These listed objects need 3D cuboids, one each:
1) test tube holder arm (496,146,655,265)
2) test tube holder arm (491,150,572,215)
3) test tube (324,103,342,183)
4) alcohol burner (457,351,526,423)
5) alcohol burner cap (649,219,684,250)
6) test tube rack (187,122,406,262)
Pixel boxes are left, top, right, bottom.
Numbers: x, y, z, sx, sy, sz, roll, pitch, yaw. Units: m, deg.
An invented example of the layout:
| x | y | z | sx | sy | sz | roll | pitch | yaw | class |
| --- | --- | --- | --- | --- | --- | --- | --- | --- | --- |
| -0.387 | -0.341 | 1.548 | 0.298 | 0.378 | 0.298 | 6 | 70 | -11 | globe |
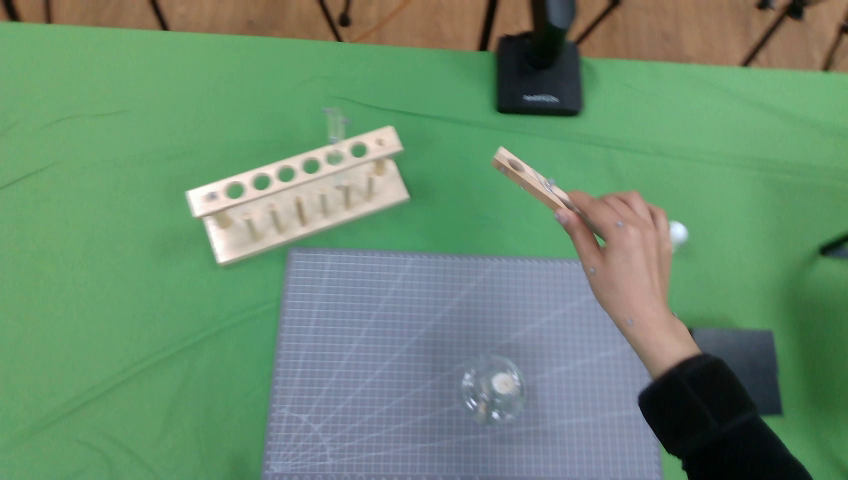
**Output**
| x | y | z | sx | sy | sz | roll | pitch | yaw | class |
| --- | --- | --- | --- | --- | --- | --- | --- | --- | --- |
| 0.141 | -0.031 | 0.565 | 0.178 | 0.015 | 0.013 | 34 | 70 | -2 | test tube holder arm |
| 0.101 | -0.053 | 0.562 | 0.088 | 0.015 | 0.010 | 35 | 70 | -2 | test tube holder arm |
| -0.103 | -0.106 | 0.693 | 0.017 | 0.151 | 0.017 | 3 | 65 | -6 | test tube |
| 0.076 | 0.157 | 0.655 | 0.078 | 0.119 | 0.077 | 2 | 72 | -5 | alcohol burner |
| 0.312 | -0.009 | 0.773 | 0.034 | 0.048 | 0.033 | 1 | 70 | -3 | alcohol burner cap |
| -0.143 | -0.057 | 0.725 | 0.242 | 0.085 | 0.066 | -21 | 74 | -12 | test tube rack |
